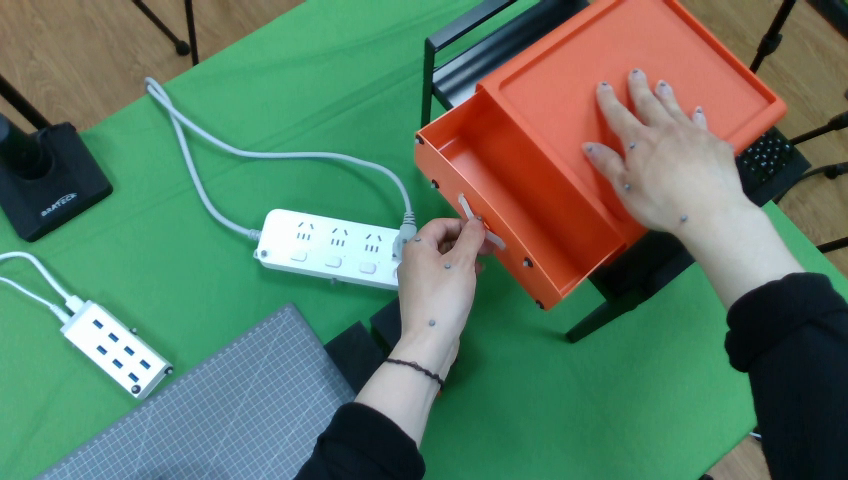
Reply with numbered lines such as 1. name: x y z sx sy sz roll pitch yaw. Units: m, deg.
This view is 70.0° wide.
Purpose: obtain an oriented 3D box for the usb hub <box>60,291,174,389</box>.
1. usb hub: -0.355 0.115 0.700 0.125 0.025 0.049 36 76 8

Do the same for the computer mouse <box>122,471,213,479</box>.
1. computer mouse: -0.273 0.284 0.645 0.117 0.041 0.062 5 74 2

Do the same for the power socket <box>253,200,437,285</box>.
1. power socket: -0.096 0.003 0.741 0.227 0.033 0.072 10 73 1

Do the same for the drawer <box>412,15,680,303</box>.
1. drawer: 0.128 -0.082 0.564 0.211 0.073 0.193 -38 78 -12

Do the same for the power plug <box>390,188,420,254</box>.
1. power plug: -0.016 -0.018 0.731 0.035 0.053 0.072 21 71 5

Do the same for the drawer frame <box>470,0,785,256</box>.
1. drawer frame: 0.184 -0.127 0.578 0.213 0.083 0.200 -38 78 -13
